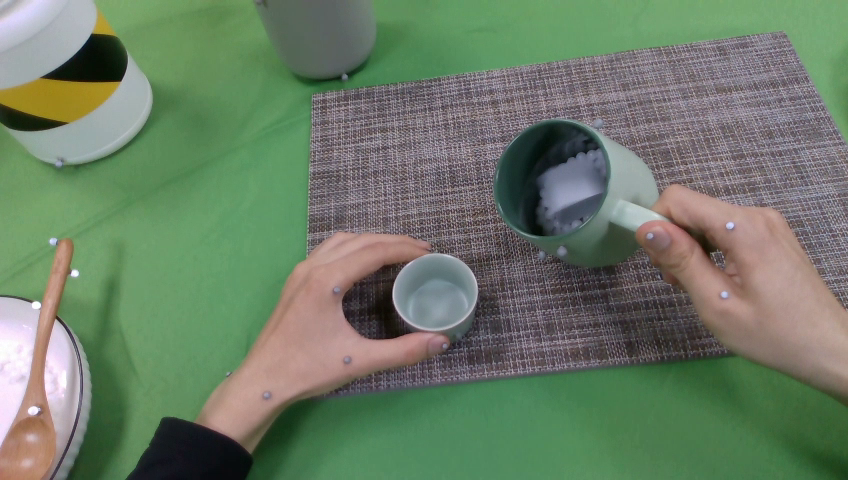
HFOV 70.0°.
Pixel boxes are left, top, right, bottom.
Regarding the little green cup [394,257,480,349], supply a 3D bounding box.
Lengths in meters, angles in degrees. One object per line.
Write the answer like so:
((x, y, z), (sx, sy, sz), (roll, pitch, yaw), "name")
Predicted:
((0.009, 0.048, 0.439), (0.061, 0.039, 0.061), (-1, 54, 2), "little green cup")

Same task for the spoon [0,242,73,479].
((-0.277, 0.087, 0.440), (0.041, 0.022, 0.192), (-5, 67, 3), "spoon")

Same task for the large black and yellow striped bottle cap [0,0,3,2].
((-0.353, -0.205, 0.456), (0.115, 0.019, 0.114), (-3, 58, 5), "large black and yellow striped bottle cap")

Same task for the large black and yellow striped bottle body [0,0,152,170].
((-0.343, -0.164, 0.528), (0.130, 0.185, 0.129), (-3, 59, 6), "large black and yellow striped bottle body")

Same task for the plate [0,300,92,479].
((-0.335, 0.143, 0.432), (0.209, 0.038, 0.207), (-3, 59, 5), "plate")

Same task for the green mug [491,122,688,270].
((0.116, -0.022, 0.411), (0.124, 0.106, 0.092), (28, 97, 33), "green mug")

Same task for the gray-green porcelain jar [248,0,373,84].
((-0.106, -0.220, 0.568), (0.106, 0.127, 0.105), (-3, 59, 5), "gray-green porcelain jar")
